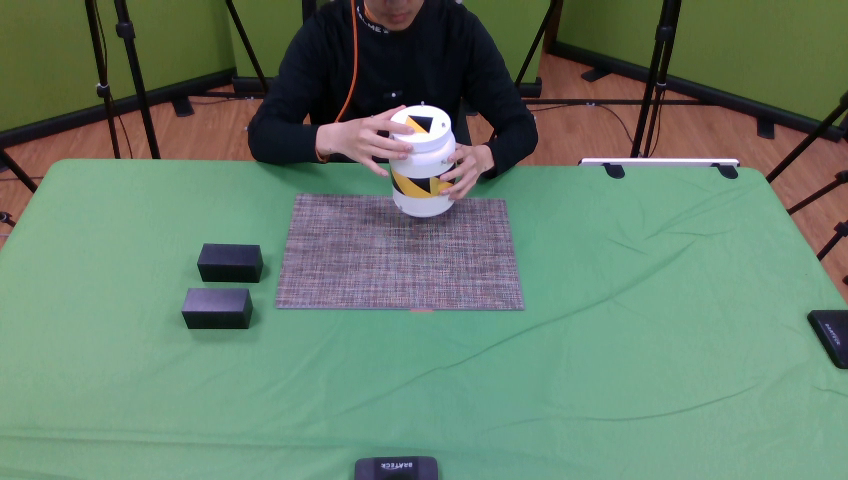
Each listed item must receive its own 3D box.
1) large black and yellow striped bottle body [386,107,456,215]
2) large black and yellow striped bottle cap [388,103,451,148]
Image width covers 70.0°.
[{"bbox_3d":[-0.004,-0.154,1.169,0.131,0.185,0.130,-2,47,2],"label":"large black and yellow striped bottle body"},{"bbox_3d":[-0.008,-0.210,1.109,0.115,0.019,0.114,-3,47,3],"label":"large black and yellow striped bottle cap"}]
